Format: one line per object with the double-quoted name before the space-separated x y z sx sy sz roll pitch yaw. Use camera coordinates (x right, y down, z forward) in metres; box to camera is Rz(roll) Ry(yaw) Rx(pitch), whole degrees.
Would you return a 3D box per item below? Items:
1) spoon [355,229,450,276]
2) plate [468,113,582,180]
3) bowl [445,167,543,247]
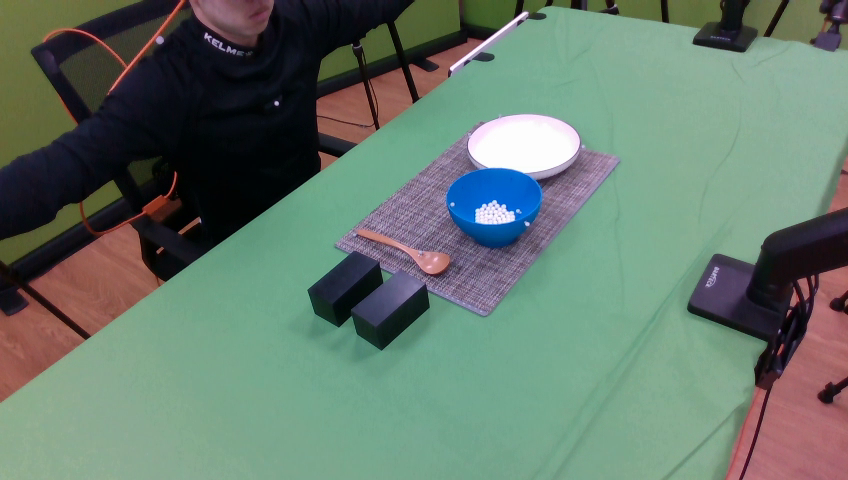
"spoon" -0.038 0.013 0.953 0.192 0.022 0.041 24 67 31
"plate" 0.186 -0.169 1.122 0.207 0.039 0.206 -4 40 4
"bowl" 0.111 -0.041 0.952 0.151 0.077 0.150 -4 41 4
